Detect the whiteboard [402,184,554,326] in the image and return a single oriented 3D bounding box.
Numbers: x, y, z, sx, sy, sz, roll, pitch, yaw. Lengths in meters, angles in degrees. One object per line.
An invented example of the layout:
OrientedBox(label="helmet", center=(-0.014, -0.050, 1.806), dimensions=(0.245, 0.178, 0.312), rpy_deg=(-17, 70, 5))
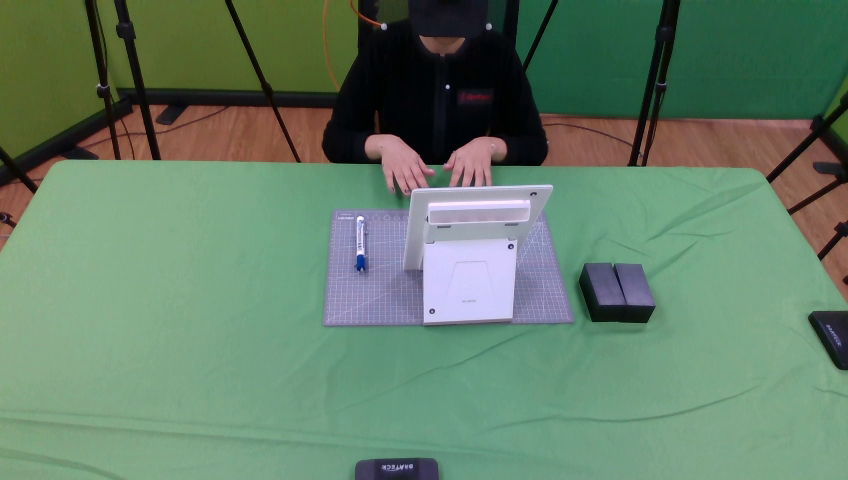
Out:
OrientedBox(label="whiteboard", center=(0.081, 0.044, 1.005), dimensions=(0.217, 0.306, 0.143), rpy_deg=(-1, 65, -6))

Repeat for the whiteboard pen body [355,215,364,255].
OrientedBox(label="whiteboard pen body", center=(-0.125, 0.001, 1.186), dimensions=(0.017, 0.017, 0.140), rpy_deg=(-2, 45, -5))

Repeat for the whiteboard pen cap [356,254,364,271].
OrientedBox(label="whiteboard pen cap", center=(-0.120, 0.042, 1.144), dimensions=(0.018, 0.018, 0.033), rpy_deg=(-1, 43, -5))
